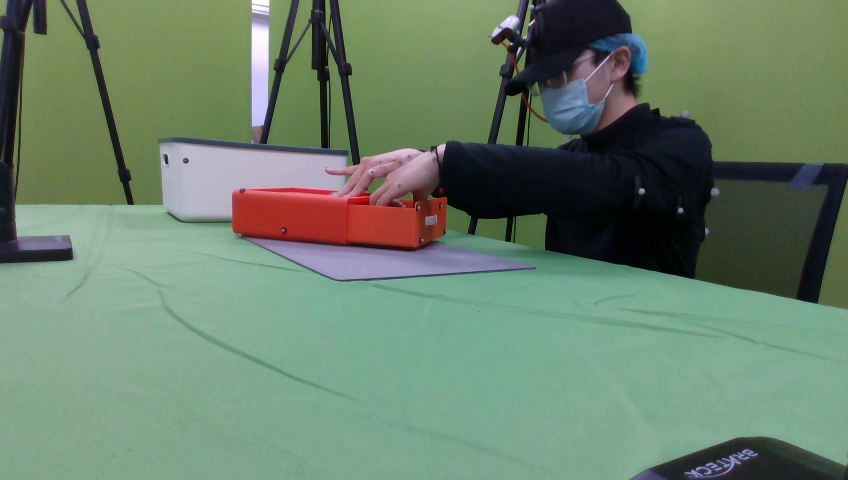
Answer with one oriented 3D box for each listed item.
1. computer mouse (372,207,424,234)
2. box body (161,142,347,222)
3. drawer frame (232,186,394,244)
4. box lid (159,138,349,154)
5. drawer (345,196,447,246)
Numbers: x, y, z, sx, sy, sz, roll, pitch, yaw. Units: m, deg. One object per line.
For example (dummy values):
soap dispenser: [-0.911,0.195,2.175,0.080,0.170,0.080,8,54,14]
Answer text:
computer mouse: [-0.043,-0.032,1.020,0.062,0.041,0.117,-7,-8,15]
box body: [-0.380,-0.132,1.352,0.366,0.160,0.253,-2,9,-30]
drawer frame: [-0.186,-0.049,1.059,0.213,0.082,0.202,4,8,17]
box lid: [-0.376,-0.206,1.344,0.373,0.015,0.262,-1,8,-30]
drawer: [-0.082,-0.040,1.029,0.211,0.073,0.195,3,8,16]
